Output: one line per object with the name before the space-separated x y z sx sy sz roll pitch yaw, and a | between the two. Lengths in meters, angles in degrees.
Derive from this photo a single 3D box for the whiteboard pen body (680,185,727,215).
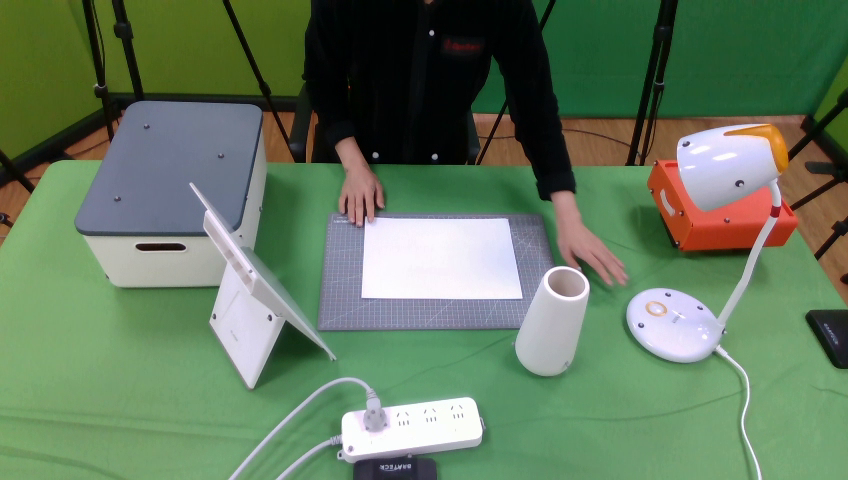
whiteboard pen body | 0.571 -0.081 1.238 0.141 0.017 0.017 -27 54 -23

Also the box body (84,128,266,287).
box body | -0.447 -0.088 1.150 0.254 0.161 0.361 -1 46 -5

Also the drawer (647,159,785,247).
drawer | 0.582 -0.079 1.214 0.212 0.073 0.193 -1 46 -5

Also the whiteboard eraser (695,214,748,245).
whiteboard eraser | 0.592 -0.019 1.209 0.113 0.042 0.055 12 27 -36

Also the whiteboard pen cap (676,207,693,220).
whiteboard pen cap | 0.523 -0.053 1.215 0.033 0.018 0.018 -28 55 -23

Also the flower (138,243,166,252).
flower | -0.443 -0.044 1.194 0.044 0.038 0.361 45 47 -7

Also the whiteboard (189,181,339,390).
whiteboard | -0.292 0.096 0.929 0.144 0.307 0.216 -37 57 -10

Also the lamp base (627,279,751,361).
lamp base | 0.460 0.100 1.027 0.178 0.181 0.160 27 51 17

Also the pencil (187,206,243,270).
pencil | -0.401 -0.008 1.176 0.012 0.012 0.193 15 44 10

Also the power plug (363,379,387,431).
power plug | -0.072 0.252 0.910 0.035 0.053 0.072 3 45 -1

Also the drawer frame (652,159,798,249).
drawer frame | 0.588 -0.077 1.219 0.214 0.083 0.200 -2 45 -5

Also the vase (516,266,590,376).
vase | 0.208 0.132 0.964 0.098 0.201 0.097 3 46 -3

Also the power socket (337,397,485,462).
power socket | -0.018 0.285 0.915 0.227 0.033 0.071 -5 46 -8

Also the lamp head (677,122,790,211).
lamp head | 0.423 -0.104 0.819 0.122 0.113 0.112 -13 33 39

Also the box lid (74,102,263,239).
box lid | -0.443 -0.138 1.094 0.263 0.015 0.369 0 46 -5
